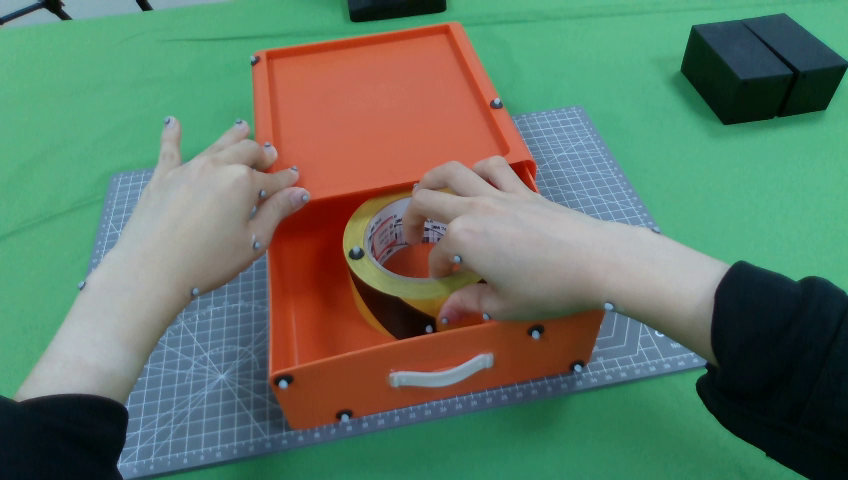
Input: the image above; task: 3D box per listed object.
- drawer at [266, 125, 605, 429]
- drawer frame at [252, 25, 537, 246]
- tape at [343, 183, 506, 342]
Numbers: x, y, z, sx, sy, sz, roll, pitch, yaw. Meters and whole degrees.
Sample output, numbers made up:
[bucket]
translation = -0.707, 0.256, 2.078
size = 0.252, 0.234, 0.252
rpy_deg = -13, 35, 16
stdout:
[drawer]
translation = -0.008, 0.008, 0.427
size = 0.195, 0.074, 0.209
rpy_deg = -11, 48, -6
[drawer frame]
translation = -0.036, -0.084, 0.512
size = 0.202, 0.083, 0.211
rpy_deg = -12, 47, -7
[tape]
translation = 0.000, 0.014, 0.430
size = 0.117, 0.053, 0.115
rpy_deg = -1, 47, 1
